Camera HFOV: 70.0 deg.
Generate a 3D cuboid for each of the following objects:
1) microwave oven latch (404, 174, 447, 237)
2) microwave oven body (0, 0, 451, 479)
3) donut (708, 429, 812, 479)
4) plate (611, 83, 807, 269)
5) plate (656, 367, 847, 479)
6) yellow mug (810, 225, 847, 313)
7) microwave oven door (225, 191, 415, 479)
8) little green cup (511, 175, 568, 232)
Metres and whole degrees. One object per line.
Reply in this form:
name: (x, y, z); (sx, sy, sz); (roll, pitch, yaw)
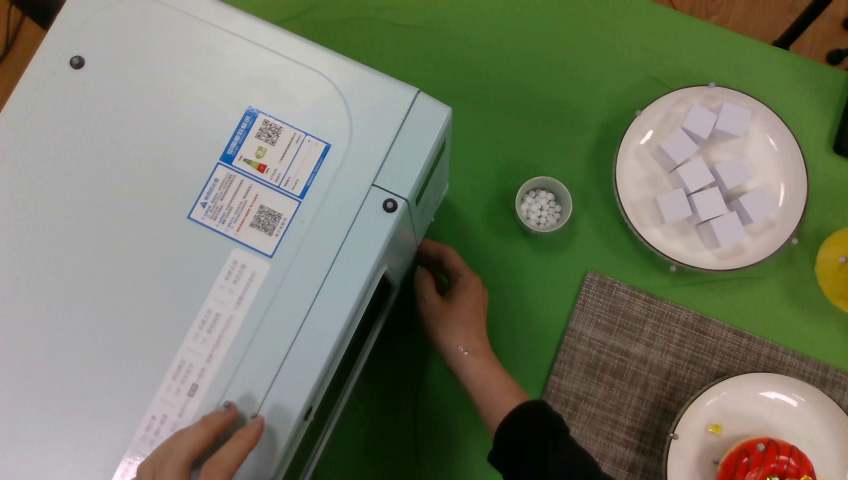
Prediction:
microwave oven latch: (-0.005, -0.041, 0.647); (0.030, 0.029, 0.079); (33, 84, 5)
microwave oven body: (-0.215, 0.043, 0.540); (0.325, 0.261, 0.441); (25, 83, 4)
donut: (0.335, 0.240, 0.606); (0.099, 0.048, 0.099); (0, 84, 4)
plate: (0.308, -0.069, 0.668); (0.208, 0.039, 0.207); (0, 81, 1)
plate: (0.338, 0.233, 0.618); (0.209, 0.038, 0.208); (0, 82, 1)
yellow mug: (0.480, 0.042, 0.636); (0.100, 0.064, 0.130); (-14, 82, -2)
microwave oven door: (-0.102, 0.141, 0.519); (0.039, 0.244, 0.355); (25, 82, 5)
little green cup: (0.124, -0.037, 0.663); (0.061, 0.039, 0.061); (0, 82, 1)
